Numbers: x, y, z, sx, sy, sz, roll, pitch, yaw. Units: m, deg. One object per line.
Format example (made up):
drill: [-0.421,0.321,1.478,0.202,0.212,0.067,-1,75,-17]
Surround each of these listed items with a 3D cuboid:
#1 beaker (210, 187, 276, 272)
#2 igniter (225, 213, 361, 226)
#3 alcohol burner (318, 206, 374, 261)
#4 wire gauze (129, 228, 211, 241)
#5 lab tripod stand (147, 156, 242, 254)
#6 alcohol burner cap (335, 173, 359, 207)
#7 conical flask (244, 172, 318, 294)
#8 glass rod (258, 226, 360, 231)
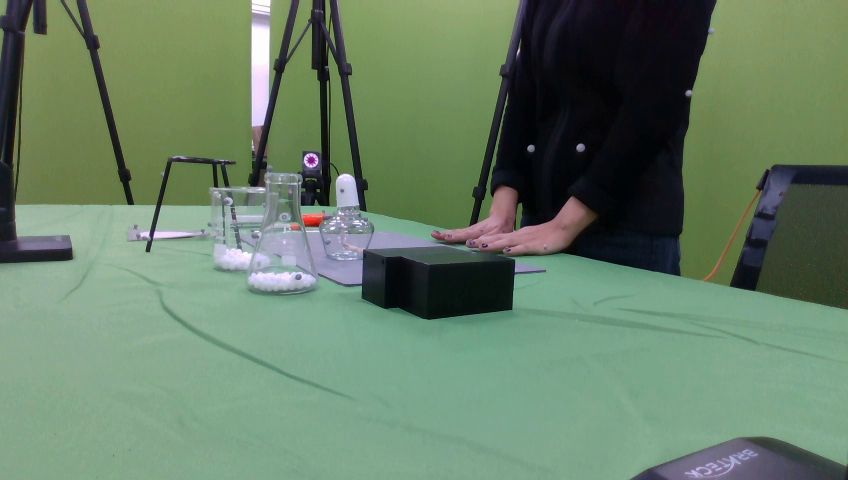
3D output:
beaker: [-0.224,-0.014,0.738,0.084,0.100,0.074,4,7,16]
igniter: [-0.257,-0.042,1.221,0.278,0.025,0.057,-2,-2,-32]
alcohol burner: [-0.107,-0.032,0.833,0.078,0.119,0.078,1,6,0]
wire gauze: [-0.419,-0.010,0.999,0.122,0.011,0.124,0,6,-25]
lab tripod stand: [-0.310,-0.050,0.858,0.148,0.131,0.148,4,6,0]
alcohol burner cap: [-0.108,-0.068,0.829,0.034,0.048,0.034,-7,4,1]
conical flask: [-0.147,-0.009,0.628,0.075,0.122,0.075,2,7,0]
glass rod: [-0.215,-0.022,1.151,0.201,0.008,0.008,-2,8,-27]
